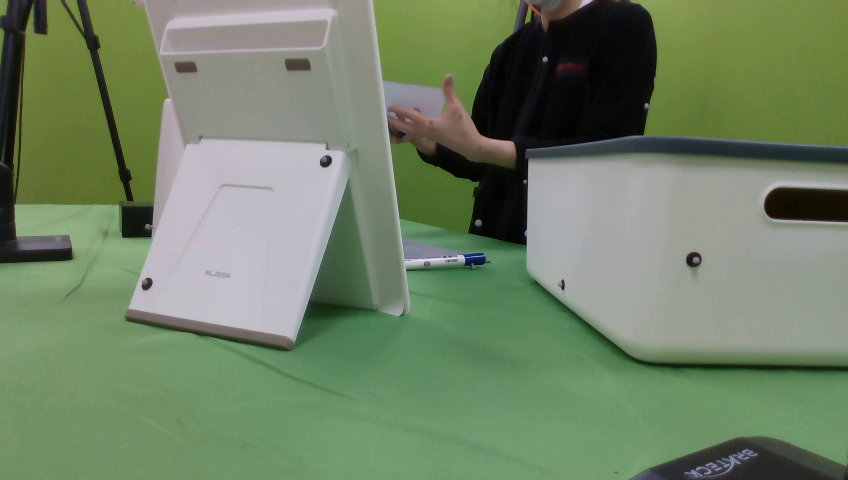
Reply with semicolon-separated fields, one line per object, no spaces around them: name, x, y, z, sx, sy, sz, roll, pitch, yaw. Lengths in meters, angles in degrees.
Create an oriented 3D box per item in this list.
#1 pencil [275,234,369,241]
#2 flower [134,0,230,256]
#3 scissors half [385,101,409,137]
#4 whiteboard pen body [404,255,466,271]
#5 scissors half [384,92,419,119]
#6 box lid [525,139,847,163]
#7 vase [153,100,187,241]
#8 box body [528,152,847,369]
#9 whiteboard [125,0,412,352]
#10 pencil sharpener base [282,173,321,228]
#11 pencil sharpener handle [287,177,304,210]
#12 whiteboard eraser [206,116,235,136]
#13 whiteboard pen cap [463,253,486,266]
pencil;-0.169;-0.006;1.036;0.195;0.012;0.012;-2;9;-45
flower;-0.282;-0.147;0.713;0.038;0.362;0.044;-23;24;-31
scissors half;-0.077;-0.243;1.072;0.012;0.040;0.176;28;-16;42
whiteboard pen body;0.012;0.030;0.792;0.141;0.017;0.017;-3;9;-24
scissors half;-0.067;-0.262;1.074;0.013;0.040;0.176;21;1;41
box lid;0.261;-0.078;0.580;0.264;0.015;0.371;2;7;-4
vase;-0.278;-0.066;0.736;0.098;0.200;0.098;2;9;0
box body;0.258;-0.005;0.591;0.254;0.160;0.363;2;7;-4
whiteboard;-0.151;-0.049;0.472;0.216;0.305;0.144;6;27;24
pencil sharpener base;-0.247;-0.080;1.212;0.061;0.107;0.076;-2;5;-28
pencil sharpener handle;-0.269;-0.096;1.257;0.036;0.067;0.030;-8;8;-27
whiteboard eraser;-0.450;-0.252;1.335;0.056;0.042;0.112;1;7;-22
whiteboard pen cap;0.066;0.027;0.818;0.033;0.018;0.018;-6;10;-24
